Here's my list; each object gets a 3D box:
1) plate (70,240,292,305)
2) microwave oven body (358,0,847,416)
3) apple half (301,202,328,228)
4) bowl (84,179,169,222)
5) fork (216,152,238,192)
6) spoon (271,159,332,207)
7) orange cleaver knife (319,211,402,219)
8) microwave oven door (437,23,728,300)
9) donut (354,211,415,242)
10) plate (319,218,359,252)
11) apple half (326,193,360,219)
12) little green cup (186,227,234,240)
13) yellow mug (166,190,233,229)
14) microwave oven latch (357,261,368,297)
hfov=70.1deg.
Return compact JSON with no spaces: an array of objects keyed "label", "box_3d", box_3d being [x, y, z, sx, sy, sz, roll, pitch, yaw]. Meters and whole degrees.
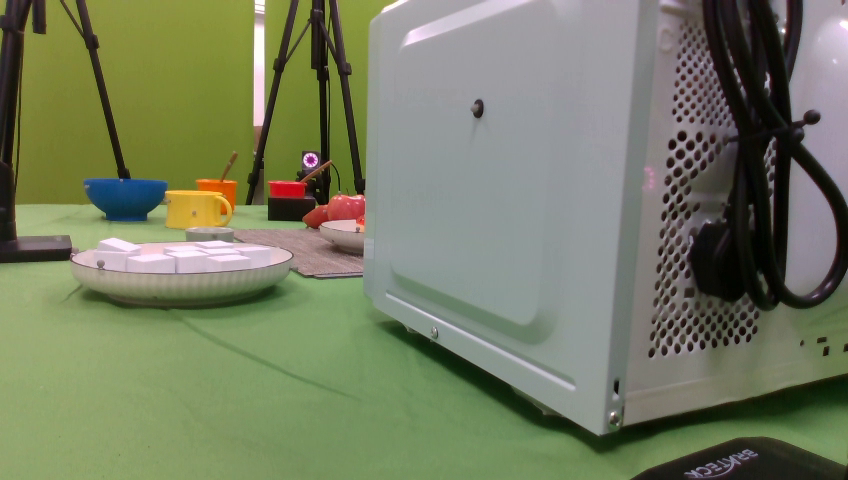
[{"label":"plate","box_3d":[-0.242,0.032,0.618,0.208,0.039,0.207,2,8,0]},{"label":"microwave oven body","box_3d":[0.211,-0.047,0.474,0.444,0.260,0.324,-1,7,-28]},{"label":"apple half","box_3d":[-0.194,-0.043,1.173,0.081,0.032,0.081,-21,-15,-6]},{"label":"bowl","box_3d":[-0.584,-0.078,1.194,0.151,0.077,0.151,3,8,0]},{"label":"fork","box_3d":[-0.455,-0.132,1.367,0.028,0.018,0.207,-2,-35,-38]},{"label":"spoon","box_3d":[-0.307,-0.142,1.514,0.193,0.021,0.041,-41,4,8]},{"label":"orange cleaver knife","box_3d":[-0.142,-0.057,1.394,0.077,0.012,0.212,3,7,44]},{"label":"microwave oven door","box_3d":[0.181,-0.072,0.621,0.358,0.243,0.039,-2,9,-29]},{"label":"donut","box_3d":[-0.062,-0.020,0.955,0.099,0.048,0.099,4,6,0]},{"label":"plate","box_3d":[-0.059,-0.007,0.939,0.209,0.038,0.209,3,8,0]},{"label":"apple half","box_3d":[-0.135,-0.047,1.089,0.081,0.074,0.053,5,10,-12]},{"label":"little green cup","box_3d":[-0.284,0.005,0.805,0.061,0.038,0.061,2,8,0]},{"label":"yellow mug","box_3d":[-0.415,-0.057,1.132,0.130,0.064,0.100,6,8,16]},{"label":"microwave oven latch","box_3d":[-0.019,0.033,0.531,0.079,0.029,0.030,-1,7,-27]}]
